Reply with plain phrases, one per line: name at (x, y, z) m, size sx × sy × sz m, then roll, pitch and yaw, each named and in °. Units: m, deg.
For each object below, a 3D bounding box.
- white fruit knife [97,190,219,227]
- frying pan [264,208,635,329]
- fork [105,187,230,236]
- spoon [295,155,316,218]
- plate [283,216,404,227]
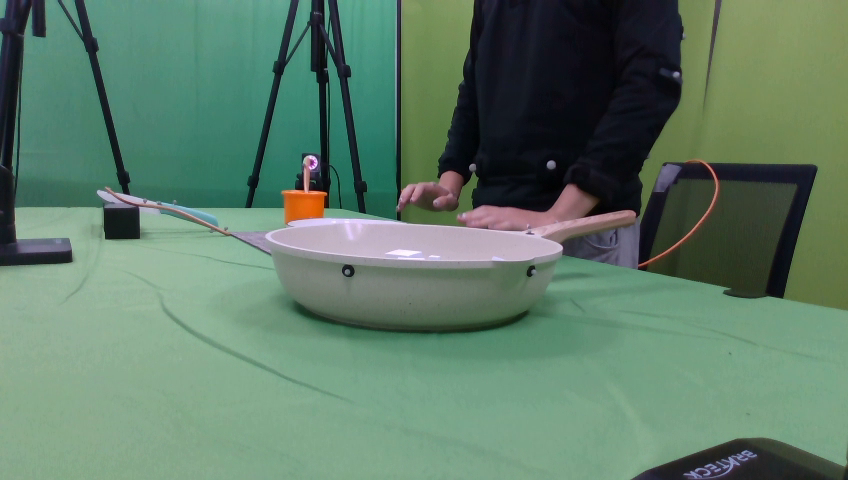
white fruit knife at (-0.468, -0.056, 1.079) m, size 0.208 × 0.027 × 0.016 m, roll 15°, pitch -1°, yaw -29°
frying pan at (0.075, 0.007, 0.666) m, size 0.490 × 0.102 × 0.305 m, roll -12°, pitch 15°, yaw -33°
fork at (-0.428, -0.046, 1.020) m, size 0.208 × 0.018 × 0.028 m, roll 19°, pitch -8°, yaw -26°
spoon at (-0.247, -0.108, 1.262) m, size 0.042 × 0.021 × 0.193 m, roll 5°, pitch 46°, yaw -17°
plate at (-0.119, -0.009, 0.968) m, size 0.208 × 0.039 × 0.207 m, roll 3°, pitch 7°, yaw 0°
